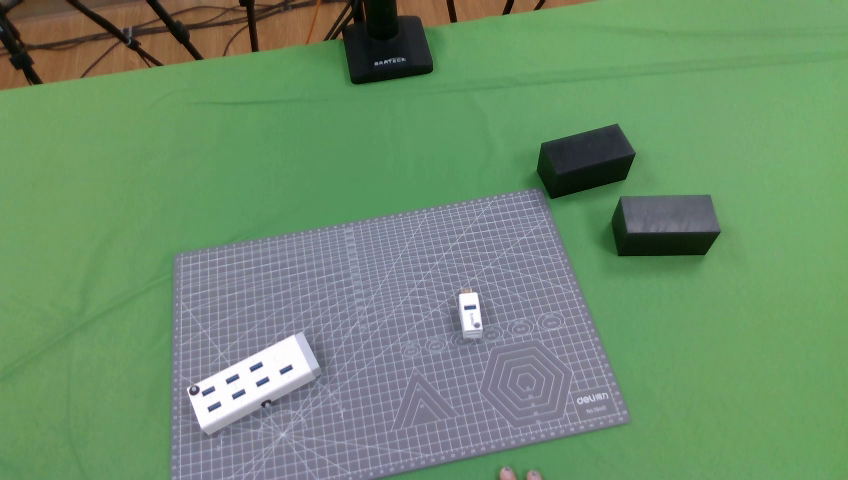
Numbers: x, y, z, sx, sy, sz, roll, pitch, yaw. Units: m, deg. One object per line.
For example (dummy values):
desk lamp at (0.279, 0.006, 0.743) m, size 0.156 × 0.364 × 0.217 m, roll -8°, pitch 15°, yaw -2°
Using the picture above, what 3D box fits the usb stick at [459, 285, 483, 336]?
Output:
usb stick at (0.050, 0.072, 0.655) m, size 0.021 × 0.027 × 0.058 m, roll -6°, pitch 56°, yaw 1°

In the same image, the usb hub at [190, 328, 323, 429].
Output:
usb hub at (-0.171, 0.140, 0.621) m, size 0.125 × 0.025 × 0.049 m, roll -26°, pitch 61°, yaw -14°
